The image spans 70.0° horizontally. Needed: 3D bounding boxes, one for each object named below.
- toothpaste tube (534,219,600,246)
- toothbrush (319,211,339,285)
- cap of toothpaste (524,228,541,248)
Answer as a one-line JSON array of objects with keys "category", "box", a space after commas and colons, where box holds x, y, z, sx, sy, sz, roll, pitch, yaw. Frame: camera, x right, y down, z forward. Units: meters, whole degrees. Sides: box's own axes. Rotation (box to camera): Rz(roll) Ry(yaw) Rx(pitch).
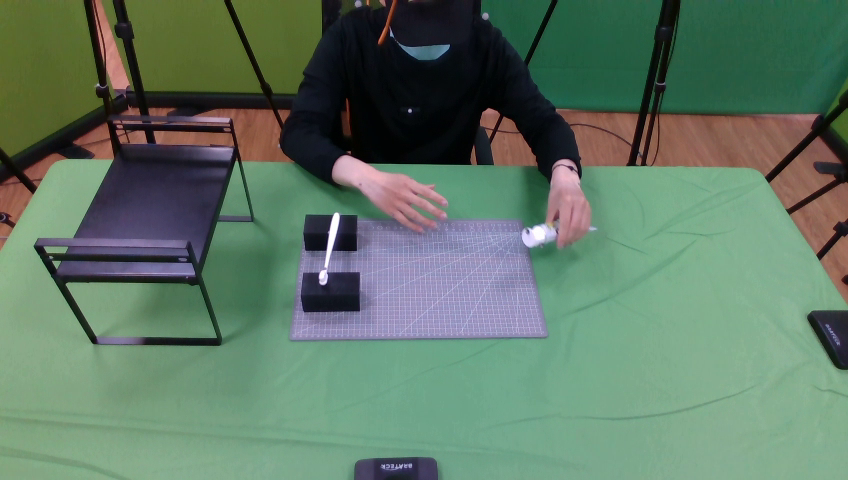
[{"category": "toothpaste tube", "box": [0.262, -0.018, 1.148, 0.165, 0.034, 0.055, -14, 31, -35]}, {"category": "toothbrush", "box": [-0.172, 0.009, 1.103, 0.014, 0.017, 0.180, -8, 44, 11]}, {"category": "cap of toothpaste", "box": [0.198, -0.004, 1.104, 0.011, 0.037, 0.037, -14, 48, -34]}]
